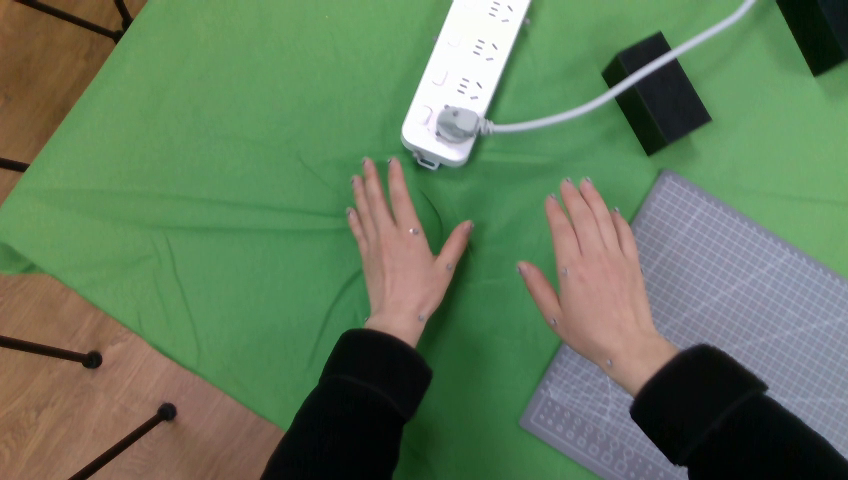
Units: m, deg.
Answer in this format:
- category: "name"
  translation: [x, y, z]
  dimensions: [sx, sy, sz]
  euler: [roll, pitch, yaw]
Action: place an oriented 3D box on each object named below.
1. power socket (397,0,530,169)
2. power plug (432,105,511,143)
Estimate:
- category: "power socket"
  translation: [0.042, -0.179, 0.609]
  dimensions: [0.072, 0.032, 0.226]
  euler: [23, 84, -1]
- category: "power plug"
  translation: [0.041, -0.102, 0.582]
  dimensions: [0.072, 0.053, 0.035]
  euler: [32, 85, 1]
